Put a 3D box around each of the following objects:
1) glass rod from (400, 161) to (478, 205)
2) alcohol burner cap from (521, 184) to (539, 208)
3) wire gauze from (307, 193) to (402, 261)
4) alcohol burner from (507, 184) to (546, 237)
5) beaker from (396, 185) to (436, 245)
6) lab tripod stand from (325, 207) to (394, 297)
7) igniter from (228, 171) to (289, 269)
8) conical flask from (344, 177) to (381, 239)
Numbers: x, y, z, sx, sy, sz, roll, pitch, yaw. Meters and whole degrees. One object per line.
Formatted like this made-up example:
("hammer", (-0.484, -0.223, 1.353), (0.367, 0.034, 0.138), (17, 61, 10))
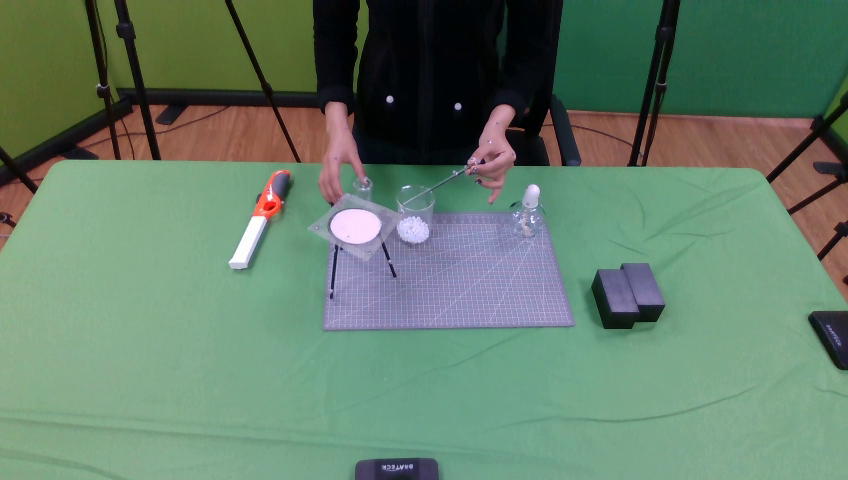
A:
("glass rod", (0.023, -0.102, 1.104), (0.008, 0.199, 0.008), (22, 57, -38))
("alcohol burner cap", (0.210, -0.087, 1.183), (0.034, 0.048, 0.033), (1, 52, -1))
("wire gauze", (-0.119, -0.028, 1.043), (0.125, 0.011, 0.121), (24, 47, 17))
("alcohol burner", (0.208, -0.063, 1.210), (0.078, 0.119, 0.077), (3, 44, -3))
("beaker", (-0.022, -0.048, 1.187), (0.074, 0.101, 0.083), (-28, 53, -28))
("lab tripod stand", (-0.124, 0.017, 1.092), (0.148, 0.132, 0.147), (3, 44, -3))
("igniter", (-0.328, -0.049, 1.218), (0.057, 0.025, 0.275), (1, 45, 11))
("conical flask", (-0.121, -0.066, 1.180), (0.075, 0.122, 0.075), (2, 46, -2))
